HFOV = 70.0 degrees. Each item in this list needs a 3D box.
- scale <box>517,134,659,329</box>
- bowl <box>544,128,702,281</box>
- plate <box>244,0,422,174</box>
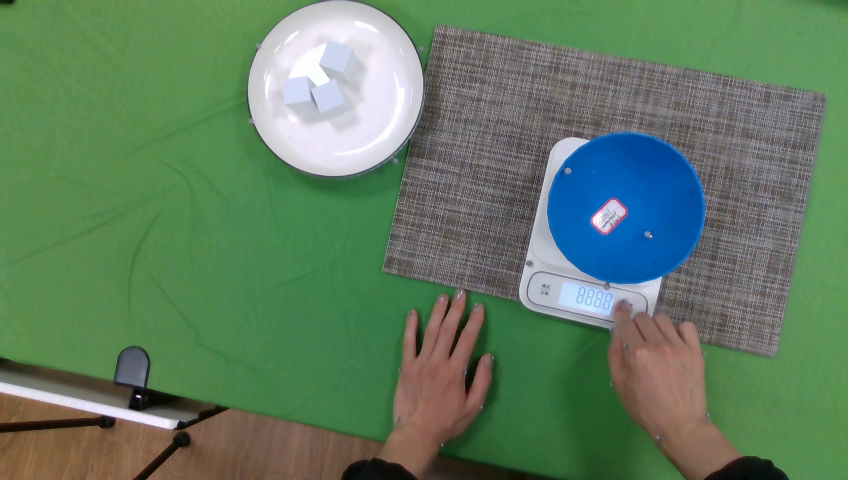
[{"bbox_3d":[0.195,-0.010,0.676,0.148,0.031,0.200,13,89,5],"label":"scale"},{"bbox_3d":[0.195,-0.032,0.624,0.151,0.077,0.151,0,88,4],"label":"bowl"},{"bbox_3d":[-0.104,-0.178,0.709,0.207,0.039,0.207,0,87,4],"label":"plate"}]
